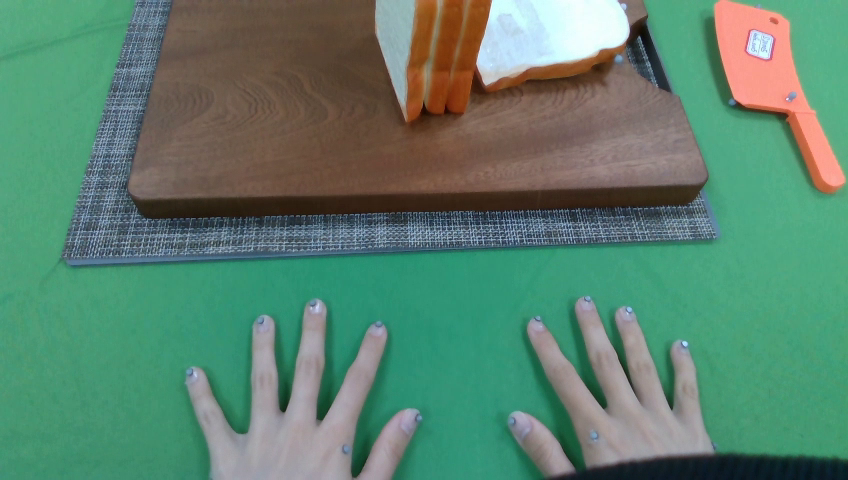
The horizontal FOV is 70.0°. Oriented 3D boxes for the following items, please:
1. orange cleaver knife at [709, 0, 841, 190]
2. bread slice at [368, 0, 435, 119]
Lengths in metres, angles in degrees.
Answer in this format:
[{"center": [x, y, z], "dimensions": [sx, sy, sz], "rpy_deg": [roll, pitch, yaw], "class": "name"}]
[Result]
[{"center": [0.289, -0.133, 0.510], "dimensions": [0.077, 0.012, 0.209], "rpy_deg": [3, 60, -4], "class": "orange cleaver knife"}, {"center": [-0.017, -0.170, 0.414], "dimensions": [0.018, 0.135, 0.106], "rpy_deg": [-10, 53, -16], "class": "bread slice"}]
